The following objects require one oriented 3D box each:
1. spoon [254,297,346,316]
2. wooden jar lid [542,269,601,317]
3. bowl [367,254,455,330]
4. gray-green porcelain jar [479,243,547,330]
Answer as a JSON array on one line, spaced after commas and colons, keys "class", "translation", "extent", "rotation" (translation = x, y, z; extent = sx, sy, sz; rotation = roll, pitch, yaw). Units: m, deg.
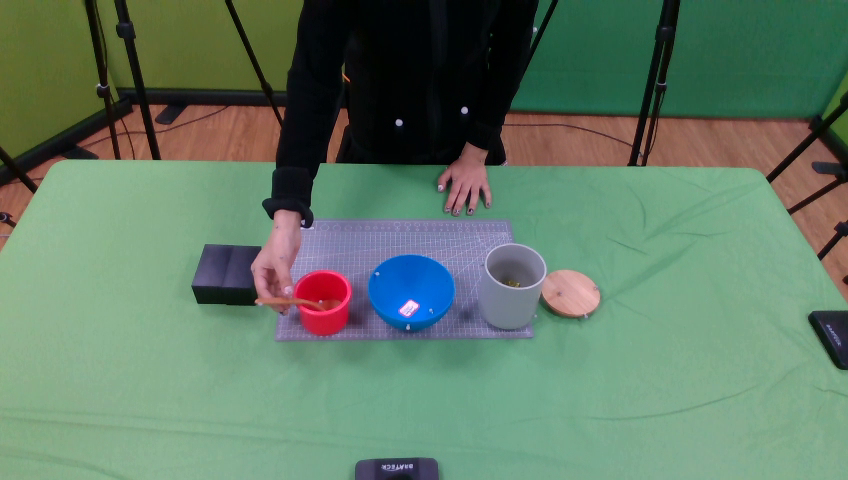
[{"class": "spoon", "translation": [-0.200, 0.104, 0.995], "extent": [0.041, 0.021, 0.195], "rotation": [47, 16, 32]}, {"class": "wooden jar lid", "translation": [0.272, 0.100, 1.121], "extent": [0.108, 0.021, 0.107], "rotation": [2, 47, -2]}, {"class": "bowl", "translation": [-0.023, 0.104, 1.053], "extent": [0.151, 0.077, 0.150], "rotation": [2, 46, -2]}, {"class": "gray-green porcelain jar", "translation": [0.150, 0.085, 1.049], "extent": [0.106, 0.127, 0.105], "rotation": [2, 46, -2]}]
